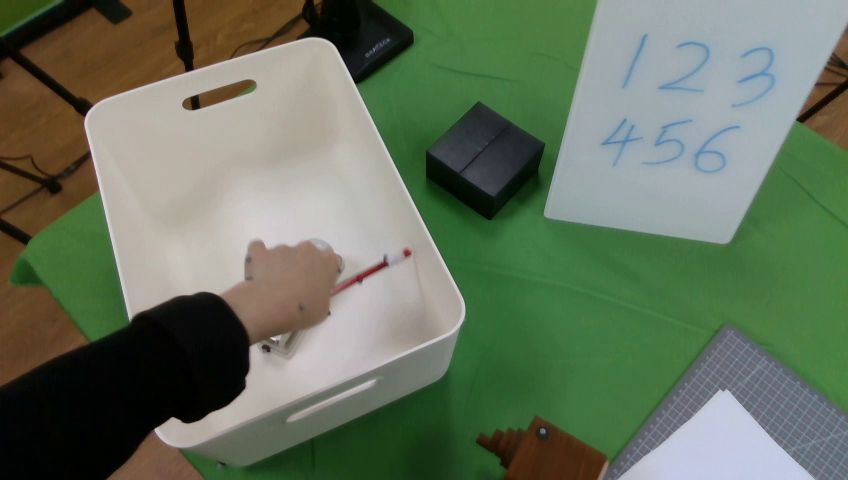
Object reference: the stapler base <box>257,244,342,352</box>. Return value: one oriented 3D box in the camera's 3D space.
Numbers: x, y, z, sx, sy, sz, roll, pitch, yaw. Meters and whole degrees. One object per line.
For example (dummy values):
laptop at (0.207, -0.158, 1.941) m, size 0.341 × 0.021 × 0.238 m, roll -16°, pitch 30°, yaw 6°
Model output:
stapler base at (-0.133, 0.054, 0.651) m, size 0.041 × 0.024 × 0.130 m, roll 21°, pitch 66°, yaw 12°

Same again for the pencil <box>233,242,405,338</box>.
pencil at (-0.088, 0.042, 0.551) m, size 0.194 × 0.012 × 0.012 m, roll -29°, pitch 64°, yaw -38°

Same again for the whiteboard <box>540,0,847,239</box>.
whiteboard at (0.265, -0.174, 0.657) m, size 0.217 × 0.308 × 0.142 m, roll 9°, pitch 43°, yaw 5°

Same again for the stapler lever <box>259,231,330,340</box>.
stapler lever at (-0.134, 0.043, 0.627) m, size 0.026 × 0.040 × 0.117 m, roll 21°, pitch 67°, yaw 13°

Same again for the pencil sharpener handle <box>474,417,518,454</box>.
pencil sharpener handle at (0.061, 0.170, 0.538) m, size 0.030 × 0.068 × 0.036 m, roll 28°, pitch 67°, yaw 14°

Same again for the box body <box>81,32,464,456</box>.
box body at (-0.147, 0.000, 0.607) m, size 0.254 × 0.161 × 0.360 m, roll -22°, pitch 65°, yaw -11°

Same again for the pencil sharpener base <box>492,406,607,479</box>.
pencil sharpener base at (0.104, 0.199, 0.537) m, size 0.076 × 0.108 × 0.061 m, roll 28°, pitch 66°, yaw 14°
